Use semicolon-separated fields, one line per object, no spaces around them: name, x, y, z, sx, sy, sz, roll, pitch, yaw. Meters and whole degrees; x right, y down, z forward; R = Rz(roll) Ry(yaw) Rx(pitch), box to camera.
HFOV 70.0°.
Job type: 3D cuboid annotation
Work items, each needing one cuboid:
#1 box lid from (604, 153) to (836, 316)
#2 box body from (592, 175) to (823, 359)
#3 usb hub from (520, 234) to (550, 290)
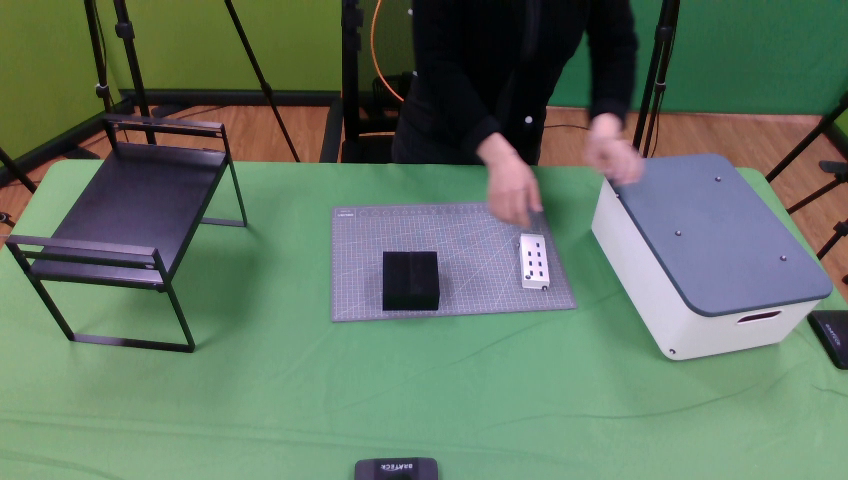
box lid;0.499;-0.029;1.059;0.264;0.015;0.369;-7;47;-11
box body;0.496;0.023;1.112;0.254;0.161;0.361;-8;47;-10
usb hub;0.212;0.039;1.168;0.049;0.025;0.124;4;45;1
